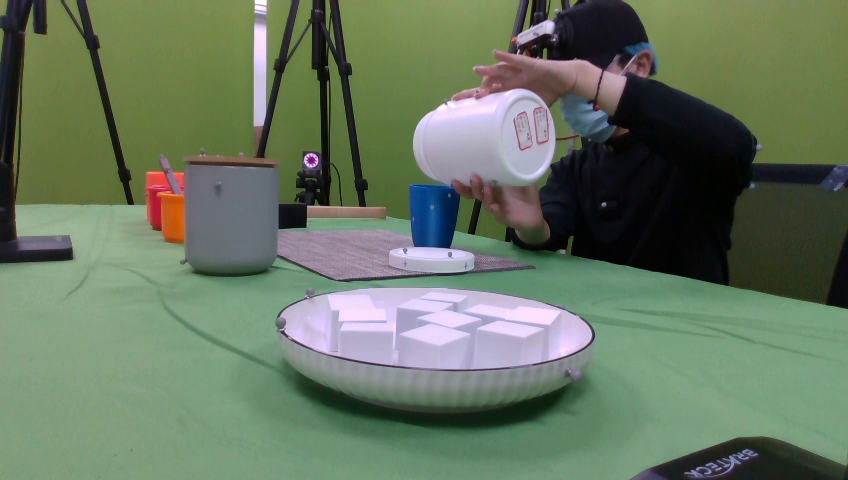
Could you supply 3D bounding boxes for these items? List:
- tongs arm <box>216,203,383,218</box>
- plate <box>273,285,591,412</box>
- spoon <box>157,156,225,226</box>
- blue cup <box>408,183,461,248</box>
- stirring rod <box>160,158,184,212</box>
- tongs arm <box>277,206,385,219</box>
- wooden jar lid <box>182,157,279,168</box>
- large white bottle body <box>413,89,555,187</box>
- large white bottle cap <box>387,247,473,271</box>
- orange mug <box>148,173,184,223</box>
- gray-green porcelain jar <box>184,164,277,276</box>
[{"bbox_3d":[-0.289,-0.069,1.435,0.389,0.027,0.028,1,-1,-18],"label":"tongs arm"},{"bbox_3d":[0.005,0.069,0.408,0.208,0.039,0.207,2,7,0],"label":"plate"},{"bbox_3d":[-0.425,-0.094,1.118,0.041,0.022,0.194,5,51,29],"label":"spoon"},{"bbox_3d":[0.015,-0.038,0.970,0.093,0.100,0.092,2,9,0],"label":"blue cup"},{"bbox_3d":[-0.391,-0.070,0.972,0.014,0.006,0.175,-1,49,-49],"label":"stirring rod"},{"bbox_3d":[-0.252,-0.062,1.361,0.387,0.026,0.050,-1,3,-32],"label":"tongs arm"},{"bbox_3d":[-0.227,-0.086,0.714,0.108,0.020,0.108,0,6,0],"label":"wooden jar lid"},{"bbox_3d":[0.081,-0.143,0.880,0.131,0.130,0.183,-4,6,-40],"label":"large white bottle body"},{"bbox_3d":[0.009,0.025,0.804,0.115,0.018,0.115,2,7,0],"label":"large white bottle cap"},{"bbox_3d":[-0.490,-0.087,1.222,0.127,0.101,0.083,-9,13,-38],"label":"orange mug"},{"bbox_3d":[-0.230,-0.025,0.722,0.106,0.126,0.106,3,7,0],"label":"gray-green porcelain jar"}]
